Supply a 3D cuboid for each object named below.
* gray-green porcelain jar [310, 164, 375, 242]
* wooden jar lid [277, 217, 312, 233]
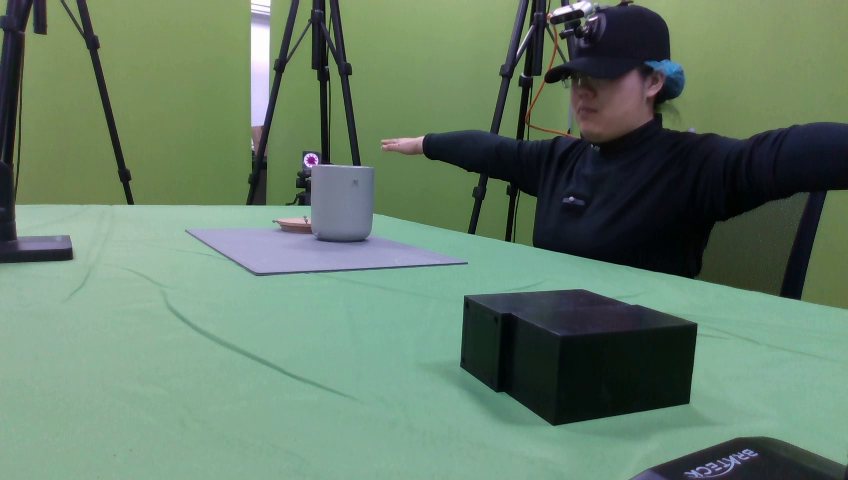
[{"bbox_3d":[-0.139,-0.064,1.025,0.106,0.126,0.106,3,8,0],"label":"gray-green porcelain jar"},{"bbox_3d":[-0.221,-0.028,1.138,0.108,0.020,0.108,2,8,0],"label":"wooden jar lid"}]
